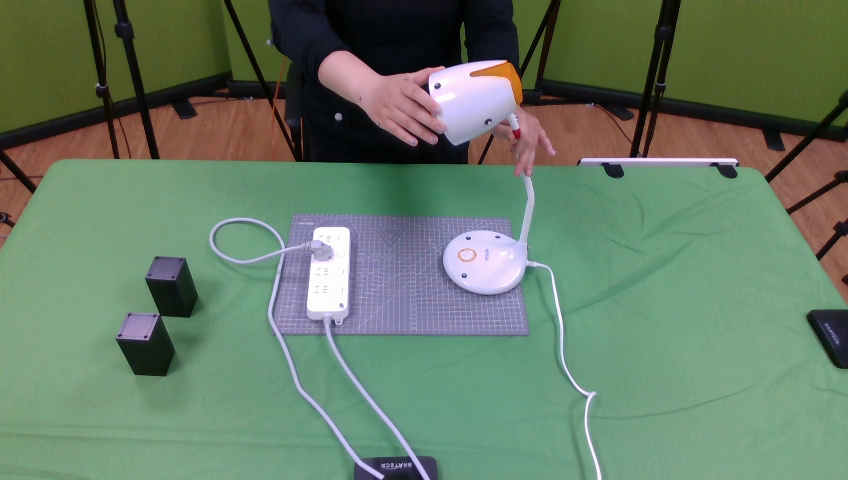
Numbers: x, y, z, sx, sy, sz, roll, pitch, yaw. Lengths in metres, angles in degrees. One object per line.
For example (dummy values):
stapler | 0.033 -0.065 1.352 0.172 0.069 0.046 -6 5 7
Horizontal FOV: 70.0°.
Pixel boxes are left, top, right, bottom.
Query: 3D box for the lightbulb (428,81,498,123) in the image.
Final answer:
lightbulb | 0.057 -0.208 0.887 0.107 0.060 0.059 -11 39 27

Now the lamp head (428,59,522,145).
lamp head | 0.081 -0.207 0.880 0.123 0.113 0.111 -14 43 15

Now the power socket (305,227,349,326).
power socket | -0.177 0.058 1.115 0.072 0.033 0.225 -1 46 -4

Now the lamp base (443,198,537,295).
lamp base | 0.132 -0.013 1.106 0.179 0.181 0.159 1 46 -8

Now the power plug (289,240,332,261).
power plug | -0.207 0.022 1.123 0.072 0.053 0.035 5 44 6
